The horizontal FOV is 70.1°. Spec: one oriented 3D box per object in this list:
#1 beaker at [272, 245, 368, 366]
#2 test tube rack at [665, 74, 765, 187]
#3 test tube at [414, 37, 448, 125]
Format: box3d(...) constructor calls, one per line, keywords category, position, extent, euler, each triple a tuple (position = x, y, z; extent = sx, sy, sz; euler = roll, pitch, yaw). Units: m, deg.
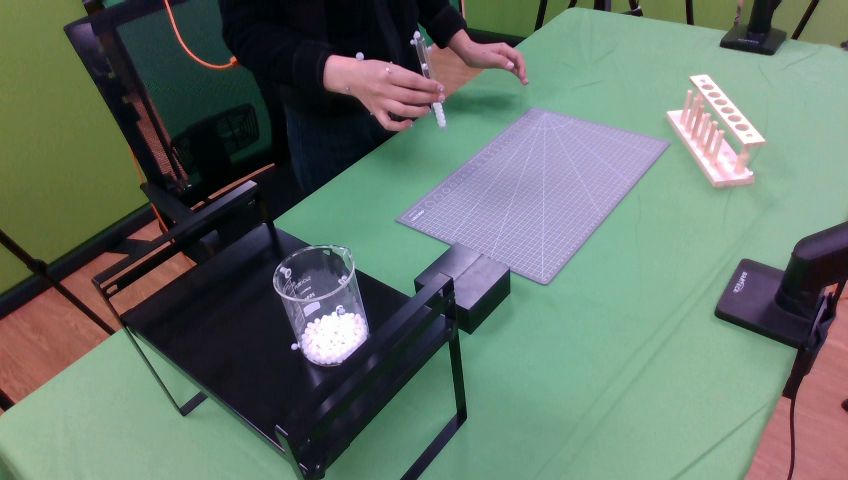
box3d(category="beaker", position=(-0.093, 0.064, 0.578), extent=(0.073, 0.101, 0.084), euler=(21, 48, 29))
box3d(category="test tube rack", position=(0.512, -0.202, 1.082), extent=(0.067, 0.085, 0.241), euler=(-6, 41, 2))
box3d(category="test tube", position=(0.012, -0.236, 0.914), extent=(0.017, 0.151, 0.017), euler=(-10, 45, 11))
